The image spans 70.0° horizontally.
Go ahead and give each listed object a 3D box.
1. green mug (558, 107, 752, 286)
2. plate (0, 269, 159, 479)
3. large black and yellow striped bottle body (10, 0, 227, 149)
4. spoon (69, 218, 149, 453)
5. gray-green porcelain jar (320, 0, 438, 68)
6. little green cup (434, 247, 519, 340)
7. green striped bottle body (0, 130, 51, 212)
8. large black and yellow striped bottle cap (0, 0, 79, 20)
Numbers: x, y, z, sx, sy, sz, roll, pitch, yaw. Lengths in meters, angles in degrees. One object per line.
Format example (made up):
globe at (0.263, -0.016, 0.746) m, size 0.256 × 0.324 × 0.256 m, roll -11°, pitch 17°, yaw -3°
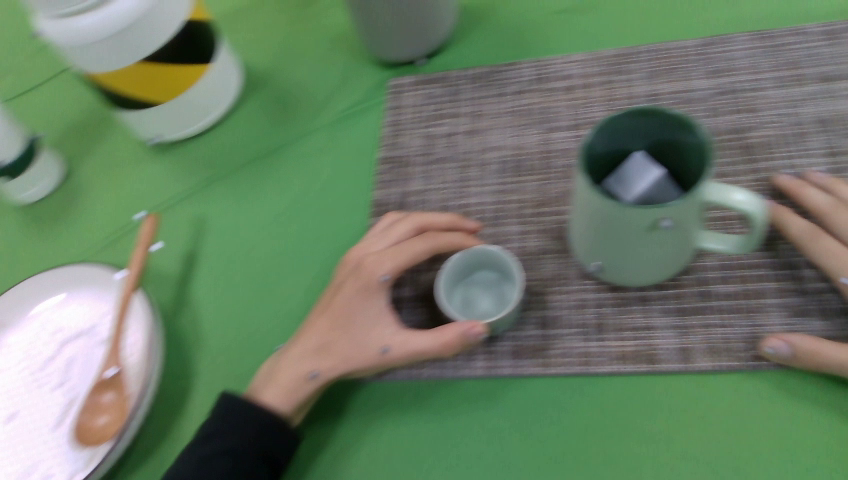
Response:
green mug at (0.153, -0.022, 0.410) m, size 0.124 × 0.106 × 0.092 m, roll 17°, pitch 66°, yaw 22°
plate at (-0.304, 0.122, 0.486) m, size 0.209 × 0.038 × 0.207 m, roll -6°, pitch 60°, yaw 11°
large black and yellow striped bottle body at (-0.287, -0.188, 0.569) m, size 0.130 × 0.186 × 0.129 m, roll -6°, pitch 60°, yaw 11°
spoon at (-0.244, 0.068, 0.483) m, size 0.041 × 0.022 × 0.192 m, roll -3°, pitch 69°, yaw 11°
gray-green porcelain jar at (-0.045, -0.237, 0.571) m, size 0.105 × 0.128 × 0.105 m, roll -6°, pitch 60°, yaw 11°
little green cup at (0.040, 0.041, 0.438) m, size 0.061 × 0.039 × 0.061 m, roll -6°, pitch 54°, yaw 9°
green striped bottle body at (-0.430, -0.083, 0.584) m, size 0.063 × 0.120 × 0.062 m, roll -6°, pitch 60°, yaw 11°
large black and yellow striped bottle cap at (-0.306, -0.227, 0.497) m, size 0.115 × 0.019 × 0.114 m, roll -6°, pitch 59°, yaw 11°
